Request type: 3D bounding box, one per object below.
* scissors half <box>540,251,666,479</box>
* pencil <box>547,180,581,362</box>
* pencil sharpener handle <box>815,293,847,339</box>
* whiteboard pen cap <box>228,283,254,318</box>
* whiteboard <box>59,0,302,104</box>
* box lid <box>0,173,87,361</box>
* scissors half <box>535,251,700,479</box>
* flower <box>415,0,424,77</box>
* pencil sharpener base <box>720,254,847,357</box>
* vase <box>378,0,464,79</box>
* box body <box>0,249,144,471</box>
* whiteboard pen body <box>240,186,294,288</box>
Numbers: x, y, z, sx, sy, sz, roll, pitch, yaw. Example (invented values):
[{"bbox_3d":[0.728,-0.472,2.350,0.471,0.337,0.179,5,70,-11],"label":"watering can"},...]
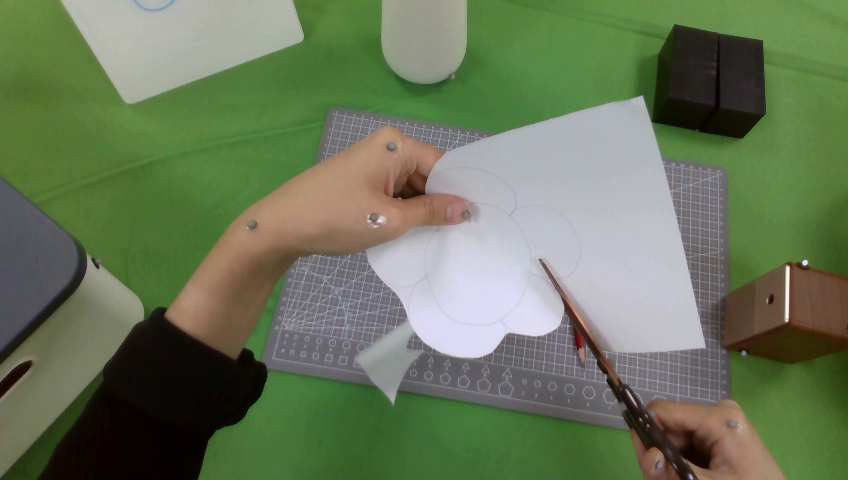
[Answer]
[{"bbox_3d":[0.111,0.078,0.367,0.013,0.040,0.176,-31,108,2],"label":"scissors half"},{"bbox_3d":[0.144,0.028,0.622,0.012,0.012,0.192,-4,71,-3],"label":"pencil"},{"bbox_3d":[0.389,0.073,0.551,0.030,0.068,0.035,13,63,0],"label":"pencil sharpener handle"},{"bbox_3d":[-0.178,0.058,0.595,0.018,0.018,0.033,15,65,5],"label":"whiteboard pen cap"},{"bbox_3d":[-0.288,-0.338,0.623,0.217,0.308,0.142,-24,52,-10],"label":"whiteboard"},{"bbox_3d":[-0.469,0.004,0.453,0.370,0.015,0.262,35,72,11],"label":"box lid"},{"bbox_3d":[0.112,0.080,0.346,0.013,0.040,0.174,-32,83,-3],"label":"scissors half"},{"bbox_3d":[-0.007,-0.303,0.554,0.044,0.365,0.038,2,51,3],"label":"flower"},{"bbox_3d":[0.338,0.065,0.562,0.077,0.107,0.061,13,69,0],"label":"pencil sharpener base"},{"bbox_3d":[-0.003,-0.259,0.626,0.098,0.201,0.097,0,68,0],"label":"vase"},{"bbox_3d":[-0.469,0.033,0.522,0.362,0.161,0.253,35,72,11],"label":"box body"},{"bbox_3d":[-0.163,0.006,0.618,0.017,0.017,0.140,15,68,5],"label":"whiteboard pen body"}]
